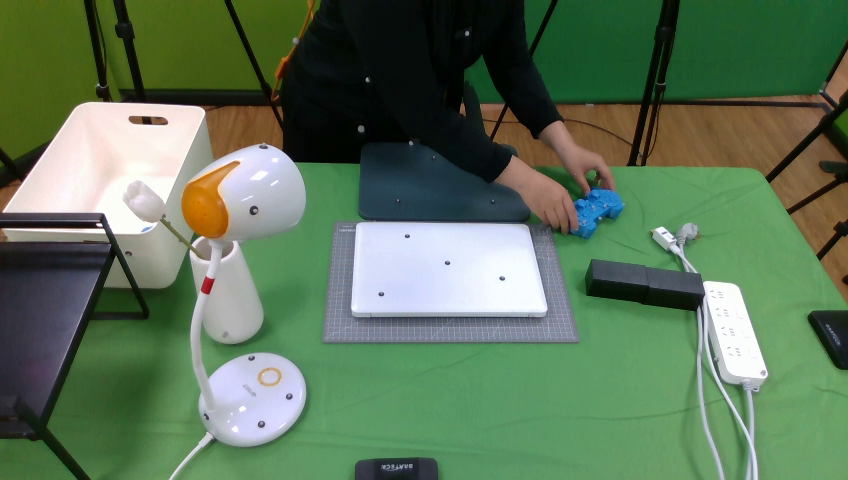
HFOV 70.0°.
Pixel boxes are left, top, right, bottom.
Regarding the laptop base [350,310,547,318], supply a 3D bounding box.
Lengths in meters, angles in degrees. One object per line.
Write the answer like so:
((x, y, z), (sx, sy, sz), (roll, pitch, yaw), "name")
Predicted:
((0.041, 0.056, 1.149), (0.355, 0.023, 0.234), (0, 42, -4), "laptop base")

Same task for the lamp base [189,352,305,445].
((-0.268, 0.196, 0.876), (0.160, 0.181, 0.179), (25, 52, 20), "lamp base")

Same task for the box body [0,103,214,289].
((-0.563, -0.087, 1.139), (0.254, 0.161, 0.361), (2, 46, -3), "box body")

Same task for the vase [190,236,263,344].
((-0.317, 0.081, 0.971), (0.098, 0.201, 0.097), (3, 47, -3), "vase")

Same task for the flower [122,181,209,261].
((-0.329, 0.029, 0.905), (0.038, 0.364, 0.044), (-21, 58, -1), "flower")

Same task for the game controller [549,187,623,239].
((0.346, -0.065, 1.271), (0.155, 0.052, 0.096), (-31, 59, -29), "game controller")

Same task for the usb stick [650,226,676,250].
((0.485, -0.008, 1.238), (0.021, 0.027, 0.059), (-22, 44, -13), "usb stick")

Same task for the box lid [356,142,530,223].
((0.040, -0.132, 1.339), (0.372, 0.015, 0.261), (0, 46, -4), "box lid")

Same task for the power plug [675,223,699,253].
((0.537, 0.000, 1.244), (0.053, 0.035, 0.072), (19, 83, -17), "power plug")

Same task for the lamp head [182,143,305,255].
((-0.216, -0.044, 0.697), (0.112, 0.113, 0.123), (23, 31, 17), "lamp head")

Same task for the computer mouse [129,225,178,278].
((-0.500, 0.018, 1.121), (0.063, 0.041, 0.116), (4, 53, -5), "computer mouse")

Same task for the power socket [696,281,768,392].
((0.543, 0.161, 1.077), (0.072, 0.033, 0.225), (6, 46, 2), "power socket")

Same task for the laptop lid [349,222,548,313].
((0.042, 0.046, 1.142), (0.357, 0.013, 0.240), (2, 44, -3), "laptop lid")
